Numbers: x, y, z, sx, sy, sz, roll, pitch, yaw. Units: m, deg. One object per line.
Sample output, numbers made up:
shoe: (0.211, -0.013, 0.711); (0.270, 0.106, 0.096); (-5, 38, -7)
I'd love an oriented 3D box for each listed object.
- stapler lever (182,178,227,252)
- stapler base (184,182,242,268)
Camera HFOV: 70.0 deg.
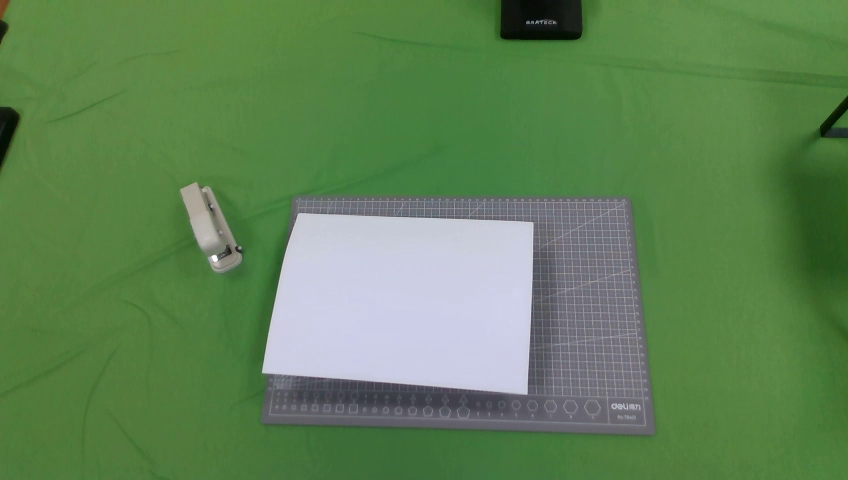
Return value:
stapler lever: (-0.284, -0.035, 0.779); (0.027, 0.040, 0.117); (-26, 68, -11)
stapler base: (-0.282, -0.024, 0.801); (0.041, 0.024, 0.129); (-26, 67, -11)
